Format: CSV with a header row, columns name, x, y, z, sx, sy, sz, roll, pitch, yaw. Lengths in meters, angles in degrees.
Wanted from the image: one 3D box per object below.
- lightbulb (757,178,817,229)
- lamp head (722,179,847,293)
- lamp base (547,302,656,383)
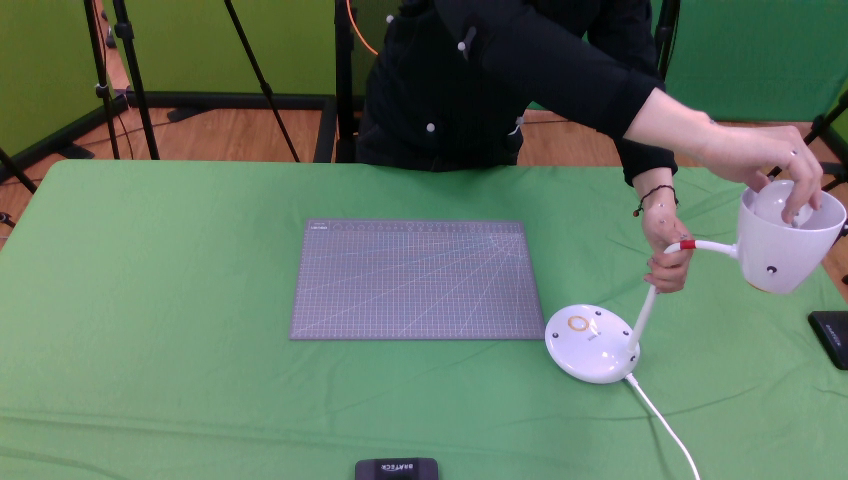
name,x,y,z,sx,sy,sz,roll,pitch,yaw
lightbulb,0.422,-0.023,0.708,0.059,0.108,0.059,-14,36,10
lamp head,0.425,0.002,0.727,0.112,0.123,0.111,0,38,0
lamp base,0.304,0.127,0.982,0.160,0.181,0.178,-33,59,-29
